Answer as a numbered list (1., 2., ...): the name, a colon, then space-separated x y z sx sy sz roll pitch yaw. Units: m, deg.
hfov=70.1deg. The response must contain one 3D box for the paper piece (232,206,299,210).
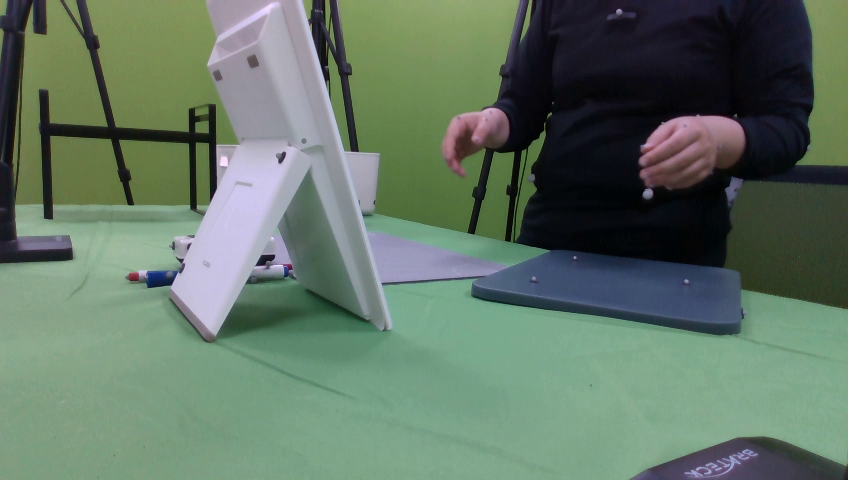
1. paper piece: -0.388 -0.079 1.466 0.136 0.004 0.135 -2 7 -30

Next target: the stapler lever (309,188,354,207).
1. stapler lever: -0.231 -0.106 1.509 0.119 0.040 0.026 3 9 -35

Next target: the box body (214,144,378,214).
1. box body: -0.328 -0.154 1.543 0.366 0.160 0.253 -2 9 -32

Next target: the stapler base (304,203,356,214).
1. stapler base: -0.235 -0.081 1.510 0.131 0.024 0.041 2 9 -35

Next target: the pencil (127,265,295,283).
1. pencil: -0.231 0.037 0.690 0.195 0.012 0.012 -2 9 -34

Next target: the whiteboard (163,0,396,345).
1. whiteboard: -0.173 -0.053 0.511 0.144 0.305 0.216 -23 19 -26

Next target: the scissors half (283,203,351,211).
1. scissors half: -0.269 -0.081 1.534 0.176 0.013 0.040 -6 10 -23

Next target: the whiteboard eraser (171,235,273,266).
1. whiteboard eraser: -0.248 0.014 0.747 0.113 0.042 0.055 -1 10 -32

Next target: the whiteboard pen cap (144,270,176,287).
1. whiteboard pen cap: -0.271 0.039 0.627 0.033 0.018 0.018 -3 10 -32

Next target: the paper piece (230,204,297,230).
1. paper piece: -0.392 -0.059 1.469 0.139 0.008 0.135 -8 28 -25

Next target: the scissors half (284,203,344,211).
1. scissors half: -0.281 -0.083 1.552 0.176 0.013 0.040 -9 6 -44

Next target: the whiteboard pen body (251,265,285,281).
1. whiteboard pen body: -0.220 0.038 0.656 0.141 0.017 0.017 -1 9 -31

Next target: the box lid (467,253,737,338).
1. box lid: 0.234 0.055 0.736 0.262 0.015 0.373 7 8 26
